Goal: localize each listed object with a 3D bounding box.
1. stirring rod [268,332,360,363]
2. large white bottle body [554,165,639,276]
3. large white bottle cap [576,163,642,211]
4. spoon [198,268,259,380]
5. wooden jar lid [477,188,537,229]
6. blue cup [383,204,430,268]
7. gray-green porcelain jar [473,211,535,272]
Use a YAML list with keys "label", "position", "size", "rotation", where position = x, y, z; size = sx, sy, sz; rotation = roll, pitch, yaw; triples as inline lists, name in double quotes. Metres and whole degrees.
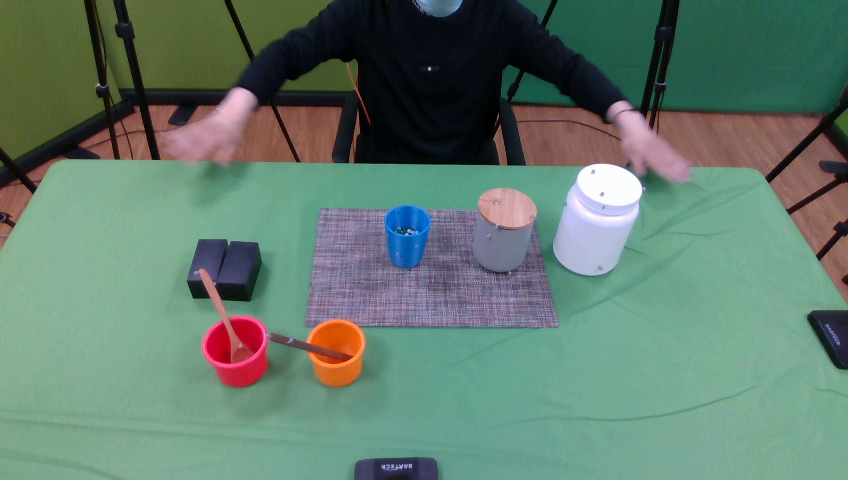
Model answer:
- label: "stirring rod"
  position: [-0.167, 0.169, 0.941]
  size: [0.177, 0.006, 0.014]
  rotation: [26, 27, -41]
- label: "large white bottle body"
  position: [0.326, -0.037, 1.141]
  size: [0.131, 0.185, 0.130]
  rotation: [2, 46, -2]
- label: "large white bottle cap"
  position: [0.330, -0.096, 1.080]
  size: [0.115, 0.018, 0.114]
  rotation: [2, 46, -2]
- label: "spoon"
  position: [-0.312, 0.132, 0.962]
  size: [0.041, 0.021, 0.194]
  rotation: [-24, 96, -20]
- label: "wooden jar lid"
  position: [0.149, -0.054, 1.094]
  size: [0.108, 0.021, 0.107]
  rotation: [4, 45, -4]
- label: "blue cup"
  position: [-0.034, -0.002, 1.135]
  size: [0.093, 0.101, 0.092]
  rotation: [2, 46, -2]
- label: "gray-green porcelain jar"
  position: [0.147, -0.011, 1.139]
  size: [0.106, 0.127, 0.105]
  rotation: [2, 46, -2]
